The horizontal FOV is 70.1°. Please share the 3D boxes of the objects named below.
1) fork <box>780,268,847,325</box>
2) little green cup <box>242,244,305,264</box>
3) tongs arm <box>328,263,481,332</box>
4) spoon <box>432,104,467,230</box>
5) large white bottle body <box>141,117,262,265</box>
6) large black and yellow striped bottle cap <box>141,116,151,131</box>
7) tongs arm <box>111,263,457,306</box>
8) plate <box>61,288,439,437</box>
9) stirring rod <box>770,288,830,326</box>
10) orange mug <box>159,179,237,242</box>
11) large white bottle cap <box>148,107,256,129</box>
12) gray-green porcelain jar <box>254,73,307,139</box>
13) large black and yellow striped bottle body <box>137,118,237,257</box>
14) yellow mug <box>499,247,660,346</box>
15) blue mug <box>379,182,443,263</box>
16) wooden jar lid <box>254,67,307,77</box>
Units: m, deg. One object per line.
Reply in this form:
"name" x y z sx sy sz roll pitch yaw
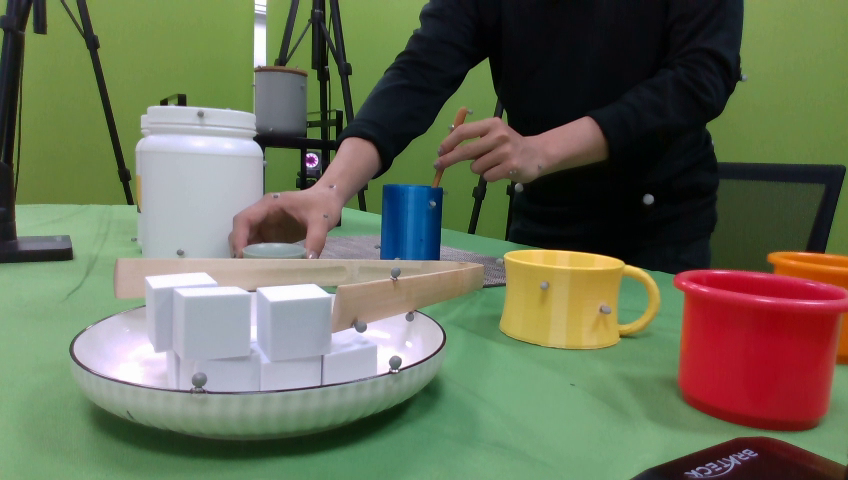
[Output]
"fork" 0.324 0.018 0.441 0.028 0.018 0.207 -3 -36 -5
"little green cup" -0.150 0.028 0.604 0.061 0.038 0.061 4 11 0
"tongs arm" -0.003 0.036 0.492 0.050 0.026 0.386 0 -1 19
"spoon" 0.018 -0.083 0.786 0.041 0.193 0.021 20 8 6
"large white bottle body" -0.254 -0.053 0.697 0.131 0.184 0.130 2 7 0
"large black and yellow striped bottle cap" -0.328 -0.158 0.837 0.115 0.019 0.115 2 6 0
"tongs arm" -0.080 0.033 0.527 0.028 0.027 0.389 -4 -4 33
"plate" -0.095 0.069 0.362 0.208 0.039 0.207 3 7 0
"stirring rod" 0.349 0.022 0.468 0.014 0.006 0.175 -13 -26 -50
"orange mug" -0.368 -0.051 0.991 0.127 0.101 0.083 -10 14 -41
"large white bottle cap" -0.250 -0.137 0.686 0.115 0.018 0.115 2 8 0
"gray-green porcelain jar" -0.298 -0.277 1.259 0.106 0.126 0.106 3 7 0
"large black and yellow striped bottle body" -0.330 -0.075 0.849 0.131 0.184 0.130 2 8 0
"yellow mug" 0.130 0.045 0.508 0.131 0.064 0.100 4 7 6
"blue mug" -0.019 -0.026 0.832 0.082 0.106 0.116 1 7 -5
"wooden jar lid" -0.296 -0.339 1.250 0.108 0.020 0.108 1 7 0
